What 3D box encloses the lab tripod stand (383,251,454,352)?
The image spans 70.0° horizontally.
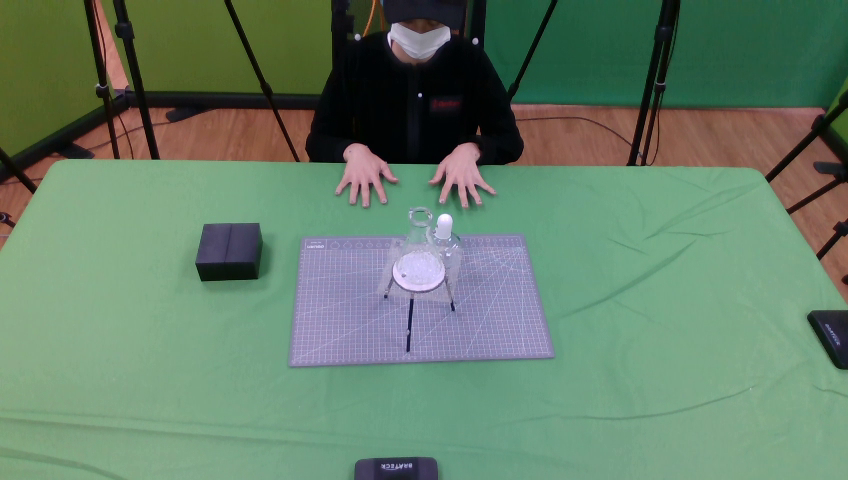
[{"bbox_3d":[-0.015,0.094,1.025,0.148,0.132,0.147,1,46,-1],"label":"lab tripod stand"}]

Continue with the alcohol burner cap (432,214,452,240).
[{"bbox_3d":[0.035,-0.027,1.110,0.034,0.048,0.033,7,42,-6],"label":"alcohol burner cap"}]

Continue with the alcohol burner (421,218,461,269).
[{"bbox_3d":[0.033,-0.001,1.135,0.078,0.119,0.077,3,48,-3],"label":"alcohol burner"}]

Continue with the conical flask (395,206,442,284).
[{"bbox_3d":[-0.007,0.005,0.937,0.075,0.122,0.075,2,45,-1],"label":"conical flask"}]

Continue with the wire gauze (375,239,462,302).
[{"bbox_3d":[-0.006,0.049,0.977,0.121,0.011,0.124,10,44,5],"label":"wire gauze"}]
